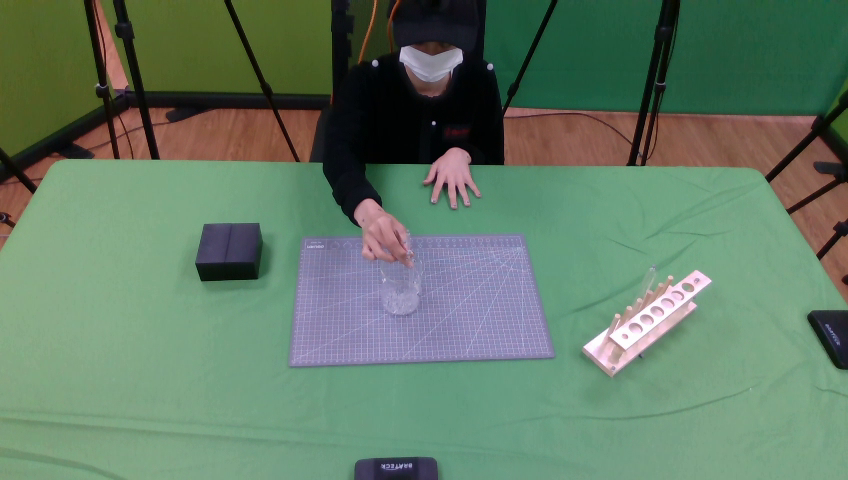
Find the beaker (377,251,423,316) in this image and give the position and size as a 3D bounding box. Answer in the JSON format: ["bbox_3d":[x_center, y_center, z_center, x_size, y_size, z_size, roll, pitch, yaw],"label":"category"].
[{"bbox_3d":[-0.040,0.081,1.060,0.074,0.101,0.083,-32,57,-30],"label":"beaker"}]

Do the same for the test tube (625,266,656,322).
[{"bbox_3d":[0.366,0.096,1.027,0.017,0.151,0.017,1,47,0],"label":"test tube"}]

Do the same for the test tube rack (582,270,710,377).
[{"bbox_3d":[0.389,0.132,1.057,0.242,0.085,0.066,-28,54,-28],"label":"test tube rack"}]

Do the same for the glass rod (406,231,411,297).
[{"bbox_3d":[-0.027,0.046,1.023,0.008,0.201,0.008,0,55,0],"label":"glass rod"}]
